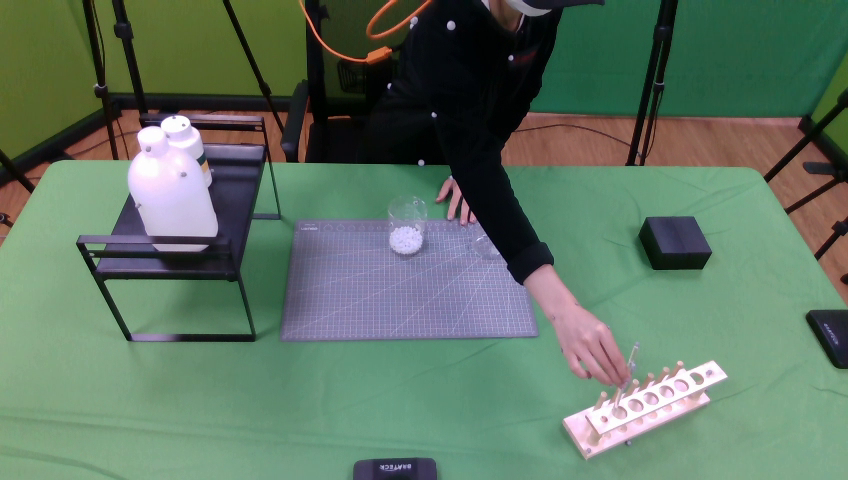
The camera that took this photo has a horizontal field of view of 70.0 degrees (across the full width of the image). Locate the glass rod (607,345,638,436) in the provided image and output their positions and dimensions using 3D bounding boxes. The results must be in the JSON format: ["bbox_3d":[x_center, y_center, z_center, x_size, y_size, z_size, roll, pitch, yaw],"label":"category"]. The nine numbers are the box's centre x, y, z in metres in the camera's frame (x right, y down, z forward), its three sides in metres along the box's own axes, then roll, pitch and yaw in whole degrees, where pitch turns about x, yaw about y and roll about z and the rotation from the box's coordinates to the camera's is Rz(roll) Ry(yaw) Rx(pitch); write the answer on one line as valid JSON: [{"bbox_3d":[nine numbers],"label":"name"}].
[{"bbox_3d":[0.279,0.218,0.858,0.008,0.201,0.008,0,38,0],"label":"glass rod"}]

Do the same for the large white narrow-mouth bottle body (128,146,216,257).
[{"bbox_3d":[-0.365,-0.072,0.872,0.102,0.195,0.101,3,47,-3],"label":"large white narrow-mouth bottle body"}]

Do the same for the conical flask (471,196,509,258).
[{"bbox_3d":[0.133,-0.028,1.161,0.075,0.122,0.075,2,46,-2],"label":"conical flask"}]

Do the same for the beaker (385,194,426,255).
[{"bbox_3d":[-0.033,-0.025,1.162,0.083,0.101,0.074,29,51,21],"label":"beaker"}]

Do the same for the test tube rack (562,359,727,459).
[{"bbox_3d":[0.341,0.247,0.940,0.243,0.085,0.066,-16,49,-18],"label":"test tube rack"}]

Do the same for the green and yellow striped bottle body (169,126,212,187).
[{"bbox_3d":[-0.388,-0.139,0.984,0.063,0.120,0.063,2,46,-2],"label":"green and yellow striped bottle body"}]

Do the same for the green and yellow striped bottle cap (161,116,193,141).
[{"bbox_3d":[-0.387,-0.174,0.946,0.045,0.020,0.045,3,44,-3],"label":"green and yellow striped bottle cap"}]

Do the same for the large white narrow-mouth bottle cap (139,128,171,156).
[{"bbox_3d":[-0.358,-0.131,0.808,0.038,0.024,0.037,3,47,-3],"label":"large white narrow-mouth bottle cap"}]
